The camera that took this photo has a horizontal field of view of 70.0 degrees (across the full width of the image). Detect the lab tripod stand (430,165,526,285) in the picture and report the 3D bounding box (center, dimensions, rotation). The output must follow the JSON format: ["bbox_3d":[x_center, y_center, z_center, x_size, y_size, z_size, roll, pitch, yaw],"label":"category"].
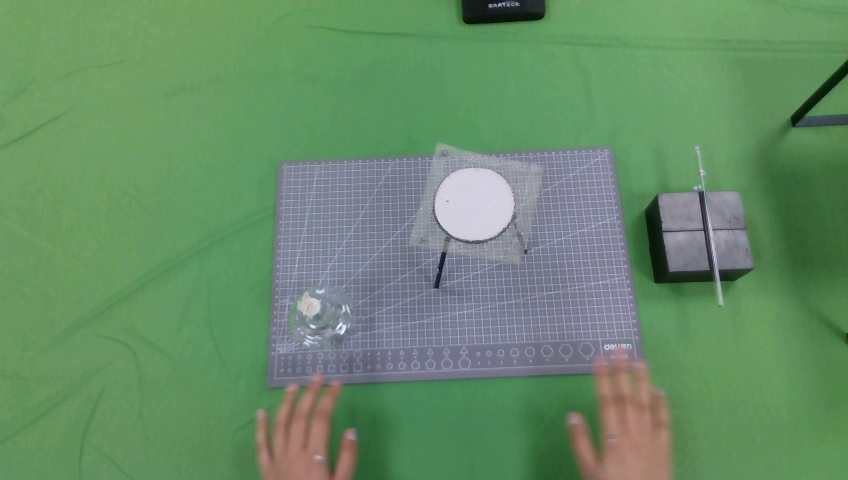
[{"bbox_3d":[0.051,-0.023,0.710,0.148,0.132,0.147,-1,71,3],"label":"lab tripod stand"}]

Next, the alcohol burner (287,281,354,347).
[{"bbox_3d":[-0.121,0.080,0.688,0.078,0.120,0.077,0,73,1],"label":"alcohol burner"}]

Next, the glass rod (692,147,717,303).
[{"bbox_3d":[0.334,-0.021,0.723,0.008,0.008,0.198,1,72,2],"label":"glass rod"}]

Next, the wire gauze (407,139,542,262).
[{"bbox_3d":[0.055,-0.044,0.646,0.121,0.011,0.124,14,72,6],"label":"wire gauze"}]
